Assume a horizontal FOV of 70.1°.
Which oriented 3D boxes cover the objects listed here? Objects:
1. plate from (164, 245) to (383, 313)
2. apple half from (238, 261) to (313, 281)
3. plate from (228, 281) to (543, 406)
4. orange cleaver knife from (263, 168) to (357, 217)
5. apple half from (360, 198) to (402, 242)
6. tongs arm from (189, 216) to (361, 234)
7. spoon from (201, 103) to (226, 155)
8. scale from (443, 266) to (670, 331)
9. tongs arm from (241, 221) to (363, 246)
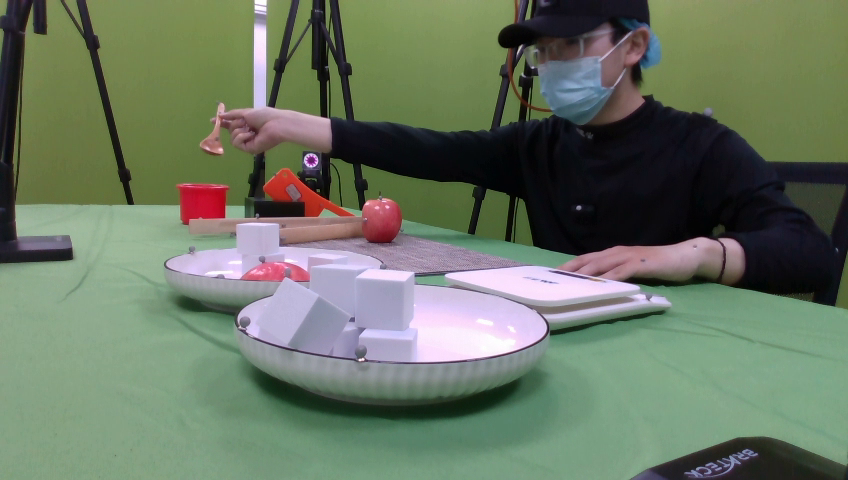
[{"bbox_3d":[-0.145,0.038,0.600,0.209,0.038,0.209,2,8,0],"label":"plate"},{"bbox_3d":[-0.141,0.035,0.578,0.081,0.033,0.081,2,11,0],"label":"apple half"},{"bbox_3d":[-0.025,0.067,0.413,0.208,0.039,0.207,3,7,0],"label":"plate"},{"bbox_3d":[-0.240,-0.078,1.294,0.212,0.077,0.012,32,-7,-26],"label":"orange cleaver knife"},{"bbox_3d":[-0.066,-0.033,1.014,0.053,0.074,0.081,9,6,21],"label":"apple half"},{"bbox_3d":[-0.220,-0.028,1.088,0.387,0.026,0.050,-3,8,-43],"label":"tongs arm"},{"bbox_3d":[-0.383,-0.210,1.128,0.042,0.021,0.193,15,38,-21],"label":"spoon"},{"bbox_3d":[0.131,0.052,0.603,0.202,0.031,0.148,-2,9,-37],"label":"scale"},{"bbox_3d":[-0.159,-0.017,1.034,0.028,0.028,0.389,2,5,33],"label":"tongs arm"}]
